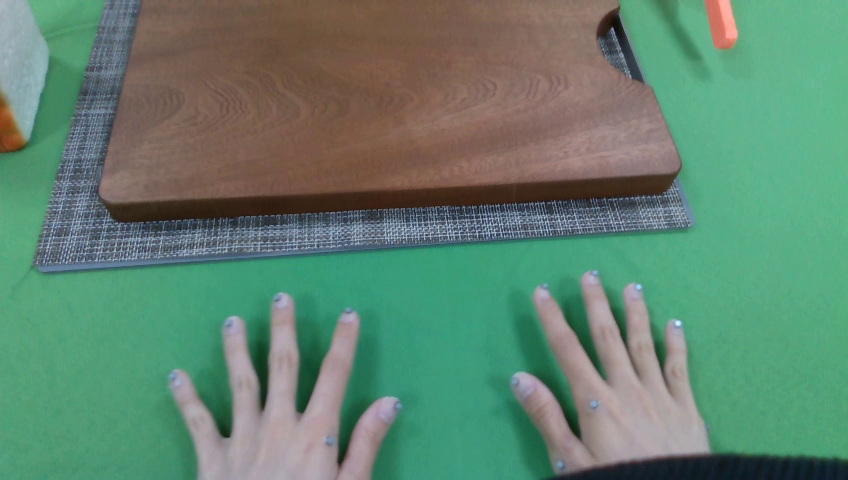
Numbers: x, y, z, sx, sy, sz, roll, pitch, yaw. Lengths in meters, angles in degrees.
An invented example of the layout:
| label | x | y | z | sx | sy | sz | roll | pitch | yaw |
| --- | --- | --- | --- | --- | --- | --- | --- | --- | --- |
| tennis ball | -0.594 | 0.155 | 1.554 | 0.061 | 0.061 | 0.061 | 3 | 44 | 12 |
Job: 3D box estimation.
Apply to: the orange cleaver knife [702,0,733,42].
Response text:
| label | x | y | z | sx | sy | sz | roll | pitch | yaw |
| --- | --- | --- | --- | --- | --- | --- | --- | --- | --- |
| orange cleaver knife | 0.240 | -0.265 | 0.543 | 0.012 | 0.077 | 0.210 | -2 | 78 | -8 |

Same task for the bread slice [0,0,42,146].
| label | x | y | z | sx | sy | sz | roll | pitch | yaw |
| --- | --- | --- | --- | --- | --- | --- | --- | --- | --- |
| bread slice | -0.298 | -0.145 | 0.414 | 0.019 | 0.132 | 0.104 | -3 | 59 | -12 |
